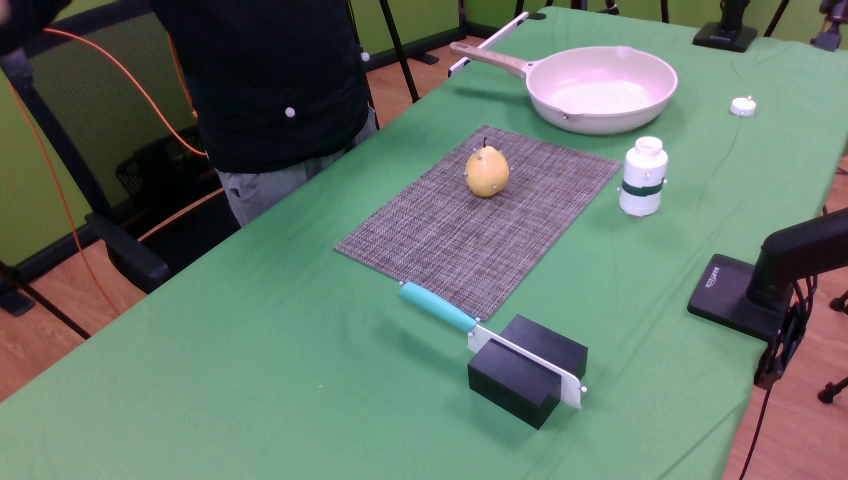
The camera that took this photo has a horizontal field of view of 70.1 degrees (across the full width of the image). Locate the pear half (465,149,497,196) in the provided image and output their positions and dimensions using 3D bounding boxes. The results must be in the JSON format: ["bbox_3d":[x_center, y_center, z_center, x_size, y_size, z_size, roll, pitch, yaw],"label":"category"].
[{"bbox_3d":[0.091,-0.110,1.025,0.070,0.088,0.031,30,51,30],"label":"pear half"}]

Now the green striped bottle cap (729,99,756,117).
[{"bbox_3d":[0.623,-0.259,1.182,0.044,0.020,0.044,-3,40,3],"label":"green striped bottle cap"}]

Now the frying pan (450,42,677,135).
[{"bbox_3d":[0.268,-0.344,1.266,0.485,0.103,0.307,26,49,21],"label":"frying pan"}]

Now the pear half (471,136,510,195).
[{"bbox_3d":[0.116,-0.136,1.036,0.076,0.110,0.056,31,54,30],"label":"pear half"}]

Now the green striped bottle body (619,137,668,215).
[{"bbox_3d":[0.350,-0.103,0.963,0.063,0.120,0.063,-4,41,4],"label":"green striped bottle body"}]

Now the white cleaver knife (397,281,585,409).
[{"bbox_3d":[0.074,0.131,0.770,0.284,0.066,0.021,27,45,31],"label":"white cleaver knife"}]
